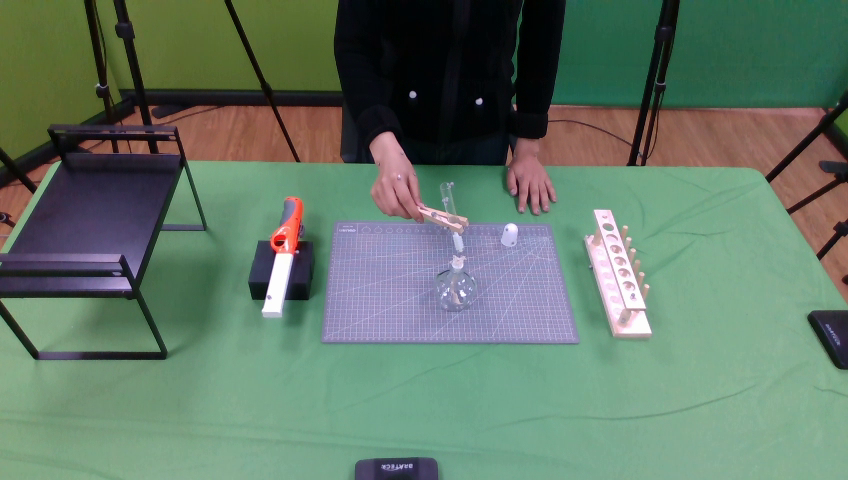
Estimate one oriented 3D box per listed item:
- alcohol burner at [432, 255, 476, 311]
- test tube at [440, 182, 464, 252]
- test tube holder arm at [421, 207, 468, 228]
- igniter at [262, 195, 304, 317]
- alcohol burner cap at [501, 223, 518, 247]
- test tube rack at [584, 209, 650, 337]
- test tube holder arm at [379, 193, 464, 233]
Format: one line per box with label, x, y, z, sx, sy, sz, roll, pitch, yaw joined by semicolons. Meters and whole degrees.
alcohol burner;0.055;0.070;1.068;0.078;0.119;0.077;3;45;-3
test tube;0.045;-0.032;0.951;0.017;0.151;0.017;-7;47;8
test tube holder arm;0.031;-0.037;0.970;0.087;0.015;0.010;16;51;30
igniter;-0.252;0.020;1.090;0.057;0.025;0.275;0;49;-1
alcohol burner cap;0.172;-0.013;1.207;0.034;0.048;0.033;0;45;0
test tube rack;0.365;0.056;1.129;0.067;0.085;0.240;1;46;-4
test tube holder arm;-0.008;-0.046;0.991;0.177;0.015;0.013;22;54;34
